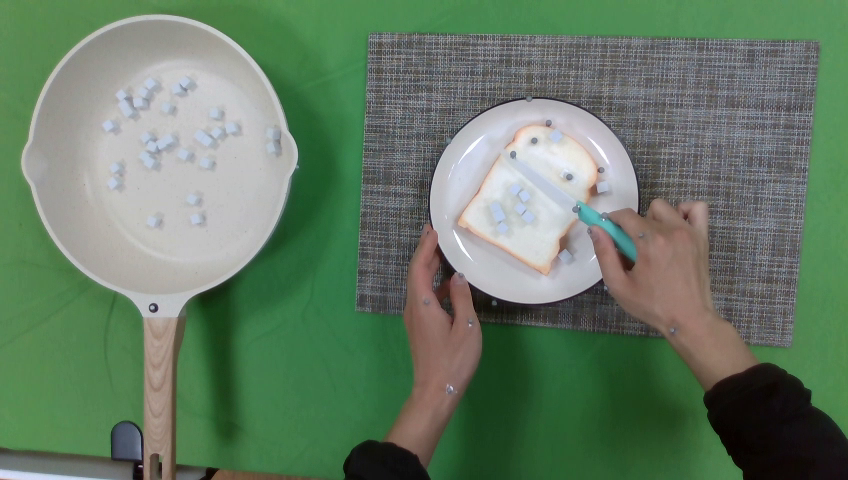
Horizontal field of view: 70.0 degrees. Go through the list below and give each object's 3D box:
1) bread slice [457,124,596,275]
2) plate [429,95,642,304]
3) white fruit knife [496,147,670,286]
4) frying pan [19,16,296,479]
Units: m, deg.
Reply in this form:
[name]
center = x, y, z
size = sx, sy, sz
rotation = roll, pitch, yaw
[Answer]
[bread slice]
center = 0.108, -0.048, 0.617
size = 0.107, 0.018, 0.134
rotation = 27, 97, 4
[plate]
center = 0.111, -0.040, 0.616
size = 0.207, 0.039, 0.207
rotation = 0, 93, 8
[white fruit knife]
center = 0.149, -0.028, 0.579
size = 0.206, 0.027, 0.016
rotation = 39, 64, 13
[frying pan]
center = -0.276, 0.020, 0.644
size = 0.306, 0.103, 0.486
rotation = 0, 85, 9
